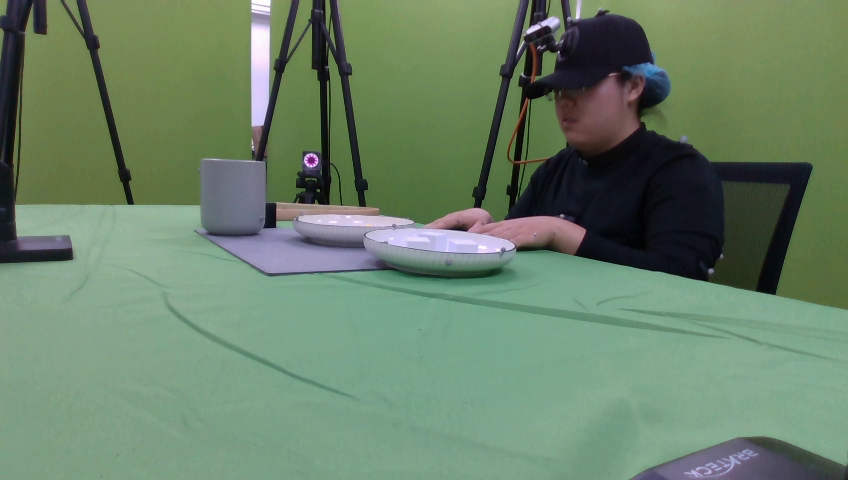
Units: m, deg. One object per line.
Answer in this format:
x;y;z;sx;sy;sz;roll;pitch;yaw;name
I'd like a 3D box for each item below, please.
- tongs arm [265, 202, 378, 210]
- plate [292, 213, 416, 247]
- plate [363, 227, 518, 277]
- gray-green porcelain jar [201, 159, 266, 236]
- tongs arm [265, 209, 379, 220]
-0.300;-0.072;1.417;0.386;0.026;0.050;2;8;-13;tongs arm
-0.118;-0.017;1.024;0.208;0.039;0.207;2;7;0;plate
0.022;0.016;0.817;0.209;0.038;0.209;3;9;0;plate
-0.326;-0.074;1.036;0.106;0.126;0.106;3;8;0;gray-green porcelain jar
-0.277;-0.057;1.341;0.389;0.028;0.028;-1;6;-25;tongs arm
